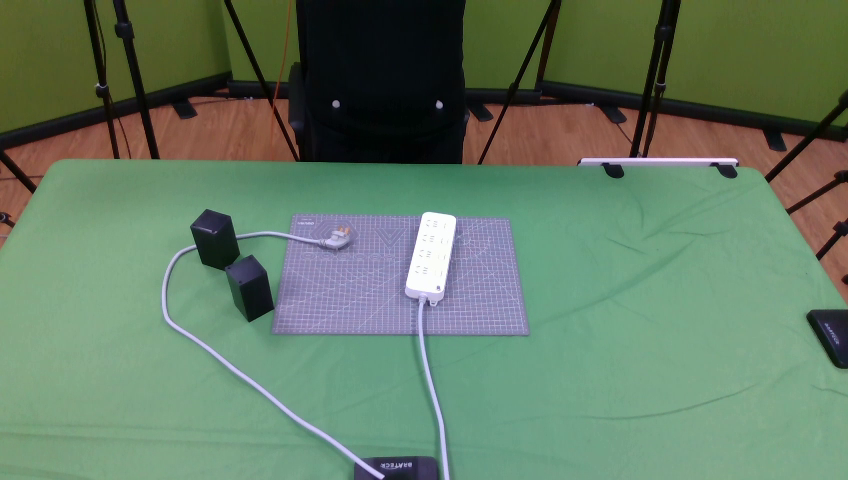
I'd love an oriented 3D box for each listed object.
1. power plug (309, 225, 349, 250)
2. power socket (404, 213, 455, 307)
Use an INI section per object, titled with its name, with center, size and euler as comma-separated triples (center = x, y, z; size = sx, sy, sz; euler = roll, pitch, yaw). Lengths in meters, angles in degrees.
[power plug]
center = -0.182, -0.010, 1.175
size = 0.072, 0.035, 0.052
euler = 20, 65, 0
[power socket]
center = 0.013, 0.029, 1.159
size = 0.072, 0.033, 0.225
euler = 8, 46, 5
